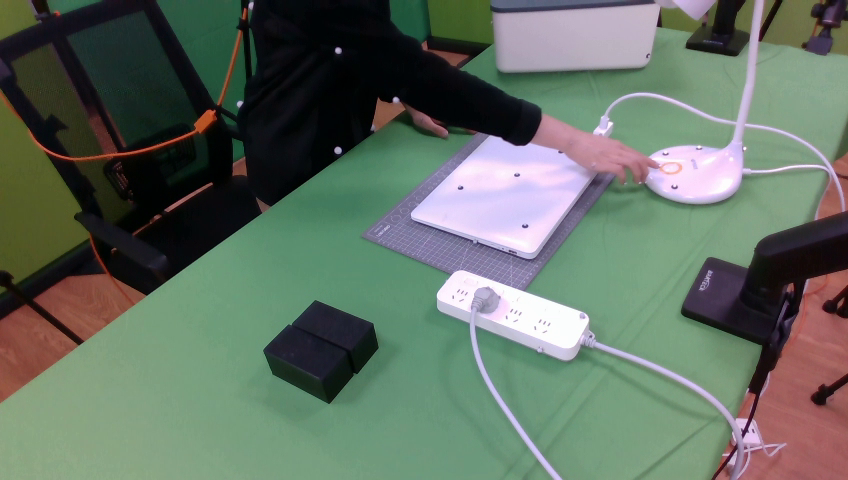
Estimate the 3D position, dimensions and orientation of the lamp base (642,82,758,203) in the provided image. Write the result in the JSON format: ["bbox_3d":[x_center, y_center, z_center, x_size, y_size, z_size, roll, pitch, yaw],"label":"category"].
[{"bbox_3d":[0.464,-0.174,0.992,0.179,0.181,0.159,-5,41,-1],"label":"lamp base"}]

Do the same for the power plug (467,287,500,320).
[{"bbox_3d":[0.073,0.092,0.814,0.035,0.053,0.073,29,54,34],"label":"power plug"}]

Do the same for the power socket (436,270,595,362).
[{"bbox_3d":[0.118,0.101,0.832,0.225,0.033,0.072,19,48,27],"label":"power socket"}]

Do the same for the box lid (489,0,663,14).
[{"bbox_3d":[0.340,-0.575,1.380,0.371,0.015,0.262,0,41,9],"label":"box lid"}]

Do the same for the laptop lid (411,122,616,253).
[{"bbox_3d":[0.164,-0.111,1.067,0.240,0.013,0.357,19,46,31],"label":"laptop lid"}]

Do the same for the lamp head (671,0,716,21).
[{"bbox_3d":[0.375,-0.373,0.807,0.122,0.113,0.112,-40,27,32],"label":"lamp head"}]

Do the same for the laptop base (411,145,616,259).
[{"bbox_3d":[0.168,-0.102,1.073,0.234,0.023,0.355,17,46,30],"label":"laptop base"}]

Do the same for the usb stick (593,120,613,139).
[{"bbox_3d":[0.336,-0.201,1.146,0.021,0.027,0.059,26,53,27],"label":"usb stick"}]

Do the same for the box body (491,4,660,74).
[{"bbox_3d":[0.346,-0.520,1.429,0.363,0.161,0.253,0,41,9],"label":"box body"}]

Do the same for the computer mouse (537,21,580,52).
[{"bbox_3d":[0.335,-0.503,1.487,0.118,0.041,0.062,21,20,-28],"label":"computer mouse"}]
